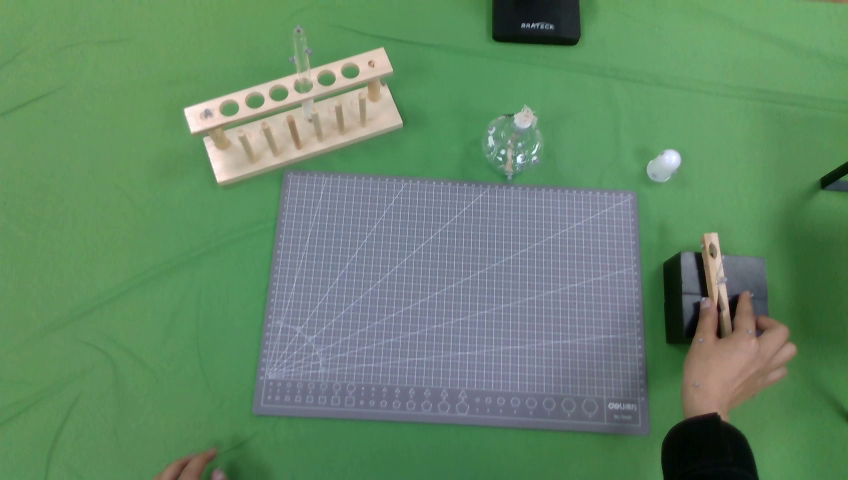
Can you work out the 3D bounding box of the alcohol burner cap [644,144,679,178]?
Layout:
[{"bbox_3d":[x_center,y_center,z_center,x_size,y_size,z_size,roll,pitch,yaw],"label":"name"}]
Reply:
[{"bbox_3d":[0.304,-0.102,0.769,0.034,0.048,0.033,0,73,-1],"label":"alcohol burner cap"}]

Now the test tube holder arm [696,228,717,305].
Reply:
[{"bbox_3d":[0.324,0.030,0.693,0.010,0.015,0.087,-4,76,4],"label":"test tube holder arm"}]

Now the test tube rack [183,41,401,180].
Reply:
[{"bbox_3d":[-0.152,-0.156,0.739,0.242,0.085,0.066,-20,75,-8],"label":"test tube rack"}]

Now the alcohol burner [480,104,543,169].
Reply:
[{"bbox_3d":[0.109,-0.133,0.731,0.078,0.119,0.077,1,74,-4],"label":"alcohol burner"}]

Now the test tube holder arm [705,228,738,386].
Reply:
[{"bbox_3d":[0.333,0.073,0.682,0.013,0.015,0.177,-5,76,3],"label":"test tube holder arm"}]

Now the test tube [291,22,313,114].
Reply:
[{"bbox_3d":[-0.139,-0.193,0.699,0.017,0.151,0.017,3,67,-6],"label":"test tube"}]
